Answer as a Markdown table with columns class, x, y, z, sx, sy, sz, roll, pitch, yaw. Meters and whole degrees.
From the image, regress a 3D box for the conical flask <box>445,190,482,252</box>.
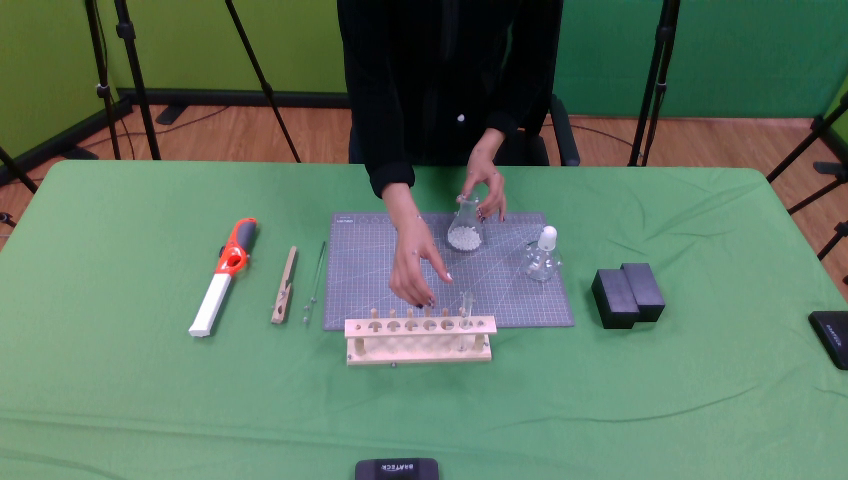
| class | x | y | z | sx | sy | sz | roll | pitch | yaw |
| --- | --- | --- | --- | --- | --- | --- | --- | --- | --- |
| conical flask | 0.082 | -0.040 | 1.172 | 0.075 | 0.122 | 0.075 | 2 | 46 | -2 |

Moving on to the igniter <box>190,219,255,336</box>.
| class | x | y | z | sx | sy | sz | roll | pitch | yaw |
| --- | --- | --- | --- | --- | --- | --- | --- | --- | --- |
| igniter | -0.365 | 0.058 | 1.110 | 0.057 | 0.025 | 0.275 | -1 | 45 | 8 |

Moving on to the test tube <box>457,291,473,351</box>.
| class | x | y | z | sx | sy | sz | roll | pitch | yaw |
| --- | --- | --- | --- | --- | --- | --- | --- | --- | --- |
| test tube | 0.064 | 0.132 | 0.965 | 0.017 | 0.151 | 0.017 | 1 | 48 | -1 |

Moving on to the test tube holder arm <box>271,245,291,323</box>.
| class | x | y | z | sx | sy | sz | roll | pitch | yaw |
| --- | --- | --- | --- | --- | --- | --- | --- | --- | --- |
| test tube holder arm | -0.260 | 0.076 | 1.105 | 0.013 | 0.015 | 0.177 | 29 | 38 | -30 |

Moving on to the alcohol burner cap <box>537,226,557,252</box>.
| class | x | y | z | sx | sy | sz | roll | pitch | yaw |
| --- | --- | --- | --- | --- | --- | --- | --- | --- | --- |
| alcohol burner cap | 0.226 | -0.004 | 1.104 | 0.034 | 0.048 | 0.033 | 0 | 50 | 1 |

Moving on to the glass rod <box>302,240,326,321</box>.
| class | x | y | z | sx | sy | sz | roll | pitch | yaw |
| --- | --- | --- | --- | --- | --- | --- | --- | --- | --- |
| glass rod | -0.203 | 0.071 | 1.124 | 0.008 | 0.008 | 0.198 | 5 | 44 | 1 |

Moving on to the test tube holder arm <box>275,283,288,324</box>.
| class | x | y | z | sx | sy | sz | roll | pitch | yaw |
| --- | --- | --- | --- | --- | --- | --- | --- | --- | --- |
| test tube holder arm | -0.254 | 0.110 | 1.077 | 0.010 | 0.015 | 0.087 | 30 | 37 | -28 |

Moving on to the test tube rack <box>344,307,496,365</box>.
| class | x | y | z | sx | sy | sz | roll | pitch | yaw |
| --- | --- | --- | --- | --- | --- | --- | --- | --- | --- |
| test tube rack | -0.009 | 0.154 | 1.007 | 0.242 | 0.085 | 0.066 | -1 | 46 | -5 |

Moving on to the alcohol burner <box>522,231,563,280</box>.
| class | x | y | z | sx | sy | sz | roll | pitch | yaw |
| --- | --- | --- | --- | --- | --- | --- | --- | --- | --- |
| alcohol burner | 0.224 | 0.020 | 1.131 | 0.078 | 0.119 | 0.077 | 4 | 46 | -4 |
